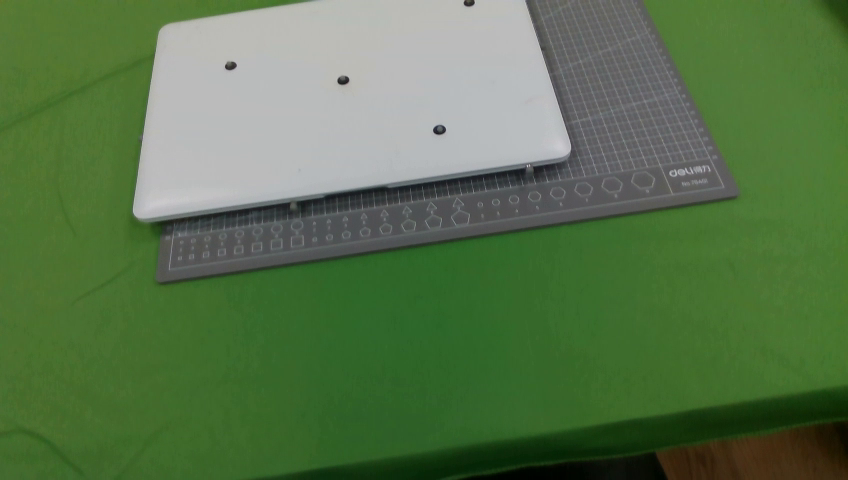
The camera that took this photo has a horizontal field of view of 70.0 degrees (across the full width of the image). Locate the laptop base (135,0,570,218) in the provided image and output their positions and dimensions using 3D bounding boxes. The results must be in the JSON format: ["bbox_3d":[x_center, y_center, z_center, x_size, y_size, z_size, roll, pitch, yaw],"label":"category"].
[{"bbox_3d":[-0.070,-0.138,0.543,0.354,0.023,0.233,-8,62,-1],"label":"laptop base"}]

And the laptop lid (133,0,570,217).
[{"bbox_3d":[-0.071,-0.142,0.531,0.357,0.013,0.239,-7,60,0],"label":"laptop lid"}]
